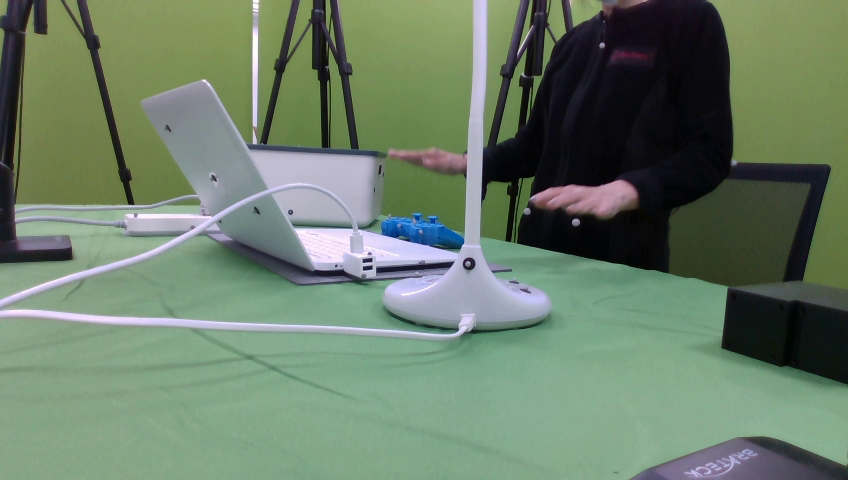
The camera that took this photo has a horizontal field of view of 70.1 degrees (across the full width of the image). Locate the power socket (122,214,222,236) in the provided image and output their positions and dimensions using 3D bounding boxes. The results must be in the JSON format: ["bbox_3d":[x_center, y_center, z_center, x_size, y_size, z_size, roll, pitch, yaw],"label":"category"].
[{"bbox_3d":[-0.398,-0.028,1.049,0.228,0.032,0.072,-3,8,-34],"label":"power socket"}]

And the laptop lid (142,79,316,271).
[{"bbox_3d":[-0.265,-0.082,0.775,0.013,0.242,0.355,-37,28,-25],"label":"laptop lid"}]

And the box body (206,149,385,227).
[{"bbox_3d":[-0.276,-0.124,1.334,0.364,0.160,0.254,3,7,1],"label":"box body"}]

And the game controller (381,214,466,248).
[{"bbox_3d":[-0.006,-0.017,1.039,0.097,0.051,0.154,-5,10,-33],"label":"game controller"}]

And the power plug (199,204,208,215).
[{"bbox_3d":[-0.387,-0.055,1.089,0.035,0.052,0.072,-1,6,-22],"label":"power plug"}]

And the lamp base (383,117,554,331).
[{"bbox_3d":[0.045,-0.019,0.547,0.161,0.180,0.179,2,10,-4],"label":"lamp base"}]

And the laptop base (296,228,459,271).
[{"bbox_3d":[-0.122,0.011,0.889,0.237,0.023,0.352,2,6,-35],"label":"laptop base"}]

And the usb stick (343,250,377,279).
[{"bbox_3d":[-0.076,0.026,0.687,0.021,0.027,0.059,-8,9,-31],"label":"usb stick"}]

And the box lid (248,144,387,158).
[{"bbox_3d":[-0.275,-0.197,1.326,0.372,0.015,0.263,4,8,1],"label":"box lid"}]
